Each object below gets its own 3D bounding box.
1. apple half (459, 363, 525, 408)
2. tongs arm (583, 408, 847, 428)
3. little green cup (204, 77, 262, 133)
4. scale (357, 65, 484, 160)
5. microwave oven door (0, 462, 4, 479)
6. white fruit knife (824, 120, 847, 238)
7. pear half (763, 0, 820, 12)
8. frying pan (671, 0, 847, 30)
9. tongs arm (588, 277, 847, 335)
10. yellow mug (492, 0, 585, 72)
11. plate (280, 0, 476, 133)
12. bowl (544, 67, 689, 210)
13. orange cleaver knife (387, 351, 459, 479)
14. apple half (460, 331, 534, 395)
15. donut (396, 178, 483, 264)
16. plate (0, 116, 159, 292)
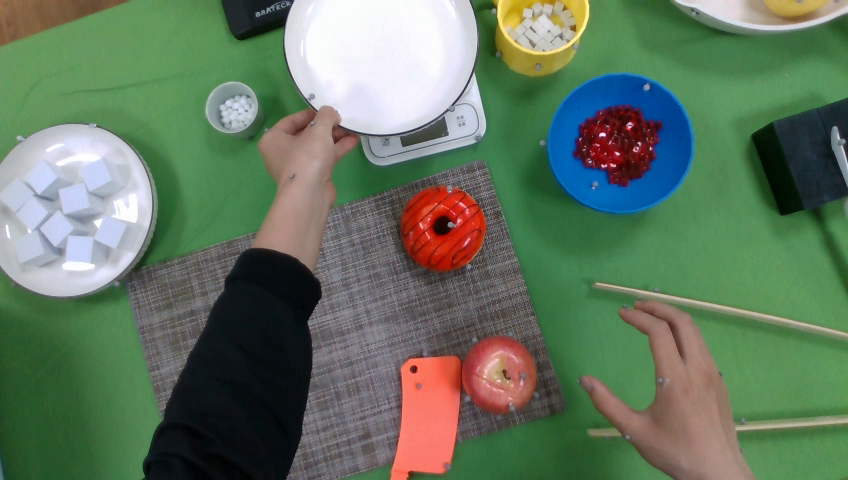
[{"bbox_3d":[0.068,0.161,0.652,0.081,0.081,0.032,25,83,5],"label":"apple half"},{"bbox_3d":[0.368,0.174,0.658,0.385,0.026,0.050,-2,81,3],"label":"tongs arm"},{"bbox_3d":[-0.223,-0.157,0.717,0.061,0.039,0.061,0,84,4],"label":"little green cup"},{"bbox_3d":[-0.020,-0.205,0.713,0.148,0.031,0.200,-13,85,3],"label":"scale"},{"bbox_3d":[-0.496,0.299,0.575,0.039,0.244,0.355,-15,84,2],"label":"microwave oven door"},{"bbox_3d":[0.455,-0.028,0.648,0.016,0.027,0.208,-20,99,2],"label":"white fruit knife"},{"bbox_3d":[0.407,-0.285,0.651,0.076,0.110,0.056,19,87,8],"label":"pear half"},{"bbox_3d":[0.444,-0.298,0.657,0.307,0.103,0.485,-44,76,0],"label":"frying pan"},{"bbox_3d":[0.374,0.089,0.667,0.387,0.028,0.028,13,79,4],"label":"tongs arm"},{"bbox_3d":[0.116,-0.262,0.692,0.130,0.064,0.100,40,89,7],"label":"yellow mug"},{"bbox_3d":[-0.048,-0.215,0.653,0.209,0.038,0.208,0,85,1],"label":"plate"},{"bbox_3d":[0.203,-0.103,0.669,0.151,0.077,0.151,0,86,3],"label":"bowl"},{"bbox_3d":[-0.007,0.225,0.679,0.077,0.012,0.211,12,84,-2],"label":"orange cleaver knife"},{"bbox_3d":[0.084,0.126,0.656,0.080,0.075,0.053,25,83,9],"label":"apple half"},{"bbox_3d":[0.017,-0.021,0.686,0.099,0.048,0.099,0,87,5],"label":"donut"},{"bbox_3d":[-0.412,-0.041,0.719,0.207,0.039,0.207,0,85,3],"label":"plate"}]
